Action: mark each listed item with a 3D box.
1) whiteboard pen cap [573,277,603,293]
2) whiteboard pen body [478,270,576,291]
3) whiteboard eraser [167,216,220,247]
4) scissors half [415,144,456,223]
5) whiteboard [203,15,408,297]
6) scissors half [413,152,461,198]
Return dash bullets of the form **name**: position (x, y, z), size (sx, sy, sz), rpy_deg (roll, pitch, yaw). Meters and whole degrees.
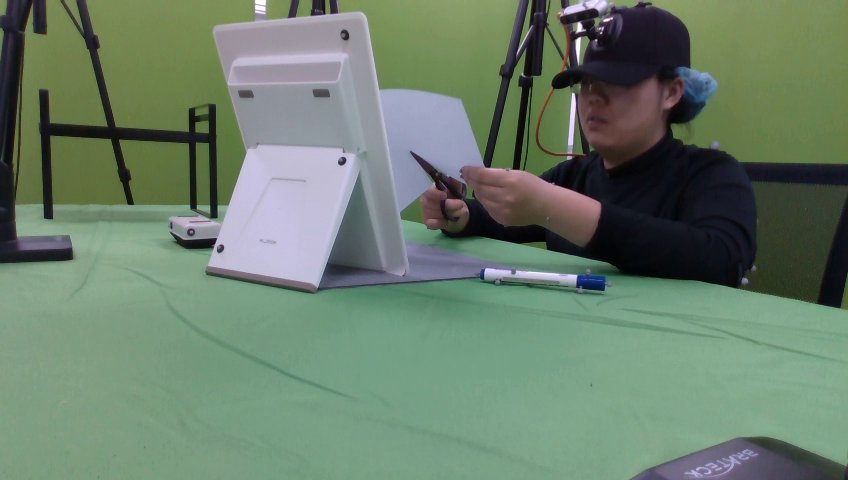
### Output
- **whiteboard pen cap**: position (0.186, 0.051, 0.687), size (0.033, 0.018, 0.018), rpy_deg (4, 8, 17)
- **whiteboard pen body**: position (0.132, 0.048, 0.706), size (0.140, 0.017, 0.017), rpy_deg (4, 7, 18)
- **whiteboard eraser**: position (-0.350, -0.013, 0.920), size (0.056, 0.042, 0.112), rpy_deg (0, 7, -35)
- **scissors half**: position (0.018, -0.088, 0.973), size (0.013, 0.176, 0.040), rpy_deg (-2, 48, 25)
- **whiteboard**: position (-0.166, -0.072, 0.668), size (0.216, 0.305, 0.144), rpy_deg (8, 30, 30)
- **scissors half**: position (0.023, -0.108, 0.981), size (0.012, 0.040, 0.176), rpy_deg (3, -12, 27)
